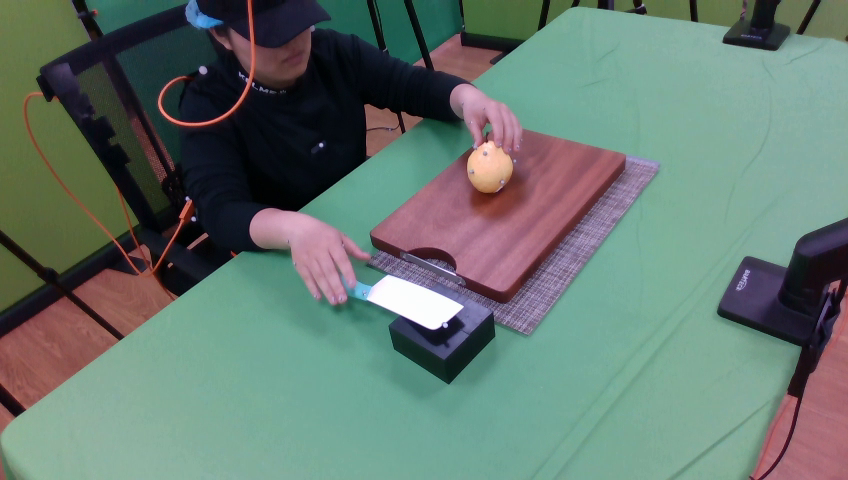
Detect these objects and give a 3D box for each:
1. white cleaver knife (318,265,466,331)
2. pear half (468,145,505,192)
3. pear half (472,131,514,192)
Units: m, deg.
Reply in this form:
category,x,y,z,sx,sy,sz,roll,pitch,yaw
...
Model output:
category,x,y,z,sx,sy,sz,roll,pitch,yaw
white cleaver knife,-0.056,0.076,0.871,0.284,0.021,0.066,17,40,43
pear half,0.099,-0.113,1.004,0.070,0.088,0.031,21,49,21
pear half,0.117,-0.141,1.019,0.076,0.110,0.056,18,47,24
